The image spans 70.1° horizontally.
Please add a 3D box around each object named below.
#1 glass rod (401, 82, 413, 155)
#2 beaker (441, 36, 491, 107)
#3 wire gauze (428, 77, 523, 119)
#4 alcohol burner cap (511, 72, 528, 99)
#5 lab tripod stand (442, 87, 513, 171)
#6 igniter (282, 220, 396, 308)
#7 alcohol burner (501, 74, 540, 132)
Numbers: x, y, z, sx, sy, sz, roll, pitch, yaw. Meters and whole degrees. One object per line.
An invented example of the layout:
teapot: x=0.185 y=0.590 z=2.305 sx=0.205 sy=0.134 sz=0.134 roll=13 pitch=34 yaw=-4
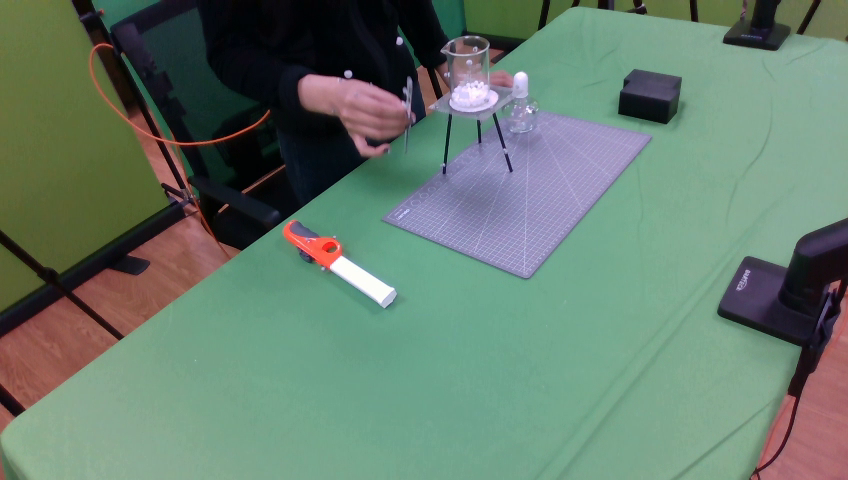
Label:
glass rod: x=-0.027 y=-0.173 z=0.887 sx=0.008 sy=0.200 sz=0.008 roll=2 pitch=71 yaw=-5
beaker: x=0.074 y=-0.286 z=1.036 sx=0.084 sy=0.101 sz=0.073 roll=-1 pitch=41 yaw=8
wire gauze: x=0.090 y=-0.249 z=1.063 sx=0.120 sy=0.011 sz=0.125 roll=24 pitch=48 yaw=30
alcohol burner cap: x=0.185 y=-0.302 z=1.171 sx=0.034 sy=0.048 sz=0.033 roll=-2 pitch=42 yaw=2
lab tripod stand: x=0.097 y=-0.200 z=1.108 sx=0.148 sy=0.132 sz=0.147 roll=-4 pitch=40 yaw=4
igniter: x=-0.146 y=0.032 z=0.966 sx=0.274 sy=0.025 sz=0.057 roll=30 pitch=64 yaw=37
alcohol burner: x=0.191 y=-0.275 z=1.194 sx=0.078 sy=0.119 sz=0.077 roll=-4 pitch=42 yaw=4
